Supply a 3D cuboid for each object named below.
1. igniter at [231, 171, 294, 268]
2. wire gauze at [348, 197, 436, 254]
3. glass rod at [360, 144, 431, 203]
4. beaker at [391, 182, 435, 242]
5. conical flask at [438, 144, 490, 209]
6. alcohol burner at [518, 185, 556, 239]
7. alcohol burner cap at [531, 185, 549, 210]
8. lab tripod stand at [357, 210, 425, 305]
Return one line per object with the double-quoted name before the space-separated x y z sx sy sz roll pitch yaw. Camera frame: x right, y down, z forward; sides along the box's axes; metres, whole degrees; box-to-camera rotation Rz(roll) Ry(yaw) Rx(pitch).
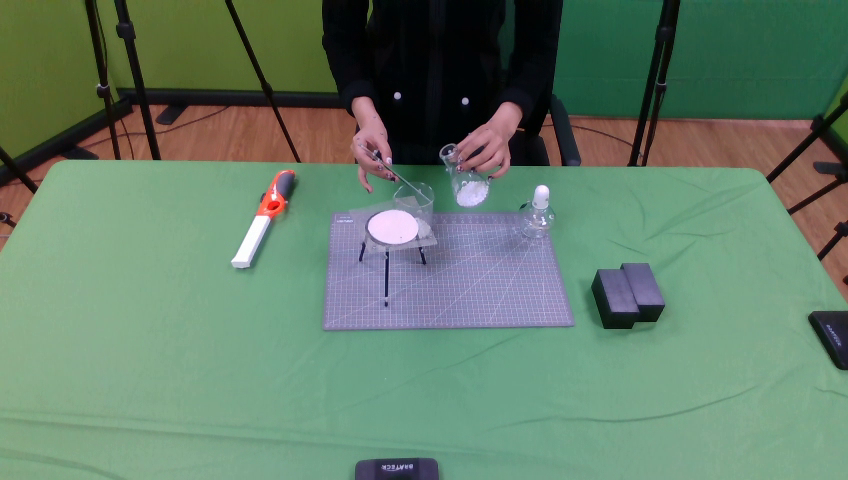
"igniter" -0.321 -0.051 1.220 0.057 0.025 0.275 2 45 11
"wire gauze" -0.056 -0.026 1.045 0.125 0.011 0.120 -11 46 -17
"glass rod" -0.049 -0.120 1.119 0.008 0.201 0.008 -24 48 30
"beaker" -0.023 -0.053 1.192 0.084 0.101 0.073 -2 46 -6
"conical flask" 0.069 -0.123 1.134 0.075 0.122 0.075 -21 39 18
"alcohol burner" 0.227 -0.061 1.209 0.078 0.120 0.077 1 44 -1
"alcohol burner cap" 0.228 -0.085 1.183 0.034 0.048 0.033 -1 48 2
"lab tripod stand" -0.060 0.020 1.094 0.148 0.132 0.147 3 44 -2
